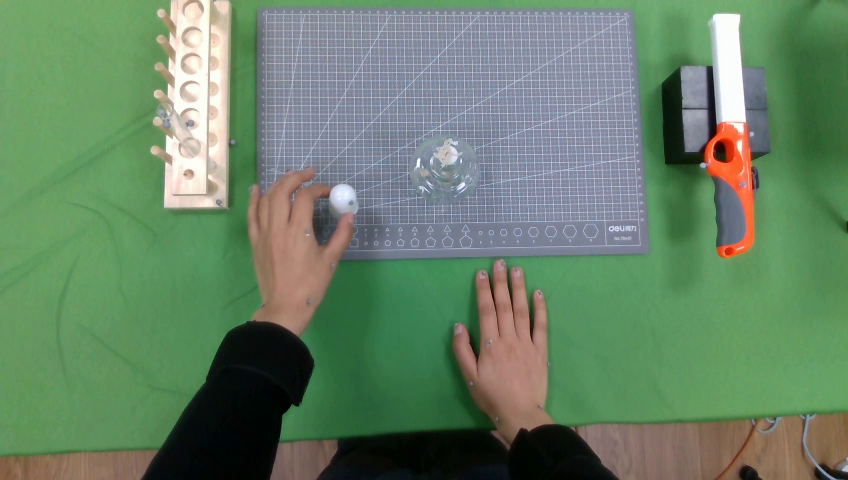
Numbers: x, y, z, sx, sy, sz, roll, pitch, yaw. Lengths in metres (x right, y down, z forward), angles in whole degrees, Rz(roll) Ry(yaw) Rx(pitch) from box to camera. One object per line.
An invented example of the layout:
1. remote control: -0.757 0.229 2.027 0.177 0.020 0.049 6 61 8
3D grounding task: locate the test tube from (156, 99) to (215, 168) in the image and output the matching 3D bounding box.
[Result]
1. test tube: -0.232 -0.101 0.599 0.017 0.150 0.017 1 78 -5

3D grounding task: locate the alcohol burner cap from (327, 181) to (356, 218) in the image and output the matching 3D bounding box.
1. alcohol burner cap: -0.089 -0.046 0.649 0.034 0.048 0.033 2 75 -7

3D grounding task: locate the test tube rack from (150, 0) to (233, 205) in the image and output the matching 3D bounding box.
1. test tube rack: -0.254 -0.164 0.654 0.067 0.085 0.241 0 84 -3

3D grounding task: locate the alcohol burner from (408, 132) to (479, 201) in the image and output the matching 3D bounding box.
1. alcohol burner: 0.022 -0.082 0.646 0.078 0.119 0.077 0 85 -2

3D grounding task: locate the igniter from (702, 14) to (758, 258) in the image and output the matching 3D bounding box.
1. igniter: 0.336 -0.117 0.669 0.057 0.025 0.275 1 82 0
